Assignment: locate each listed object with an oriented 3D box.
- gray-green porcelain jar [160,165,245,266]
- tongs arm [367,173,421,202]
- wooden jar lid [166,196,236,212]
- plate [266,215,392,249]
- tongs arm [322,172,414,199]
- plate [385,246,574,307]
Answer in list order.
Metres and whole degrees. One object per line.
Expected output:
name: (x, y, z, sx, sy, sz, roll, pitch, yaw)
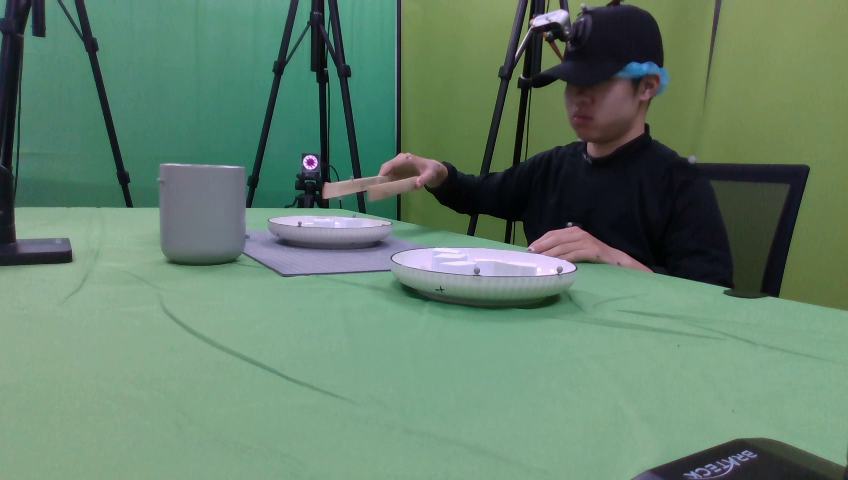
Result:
gray-green porcelain jar: (-0.291, -0.034, 0.799, 0.106, 0.126, 0.106, 2, 8, 0)
tongs arm: (-0.050, -0.104, 1.144, 0.028, 0.028, 0.388, -1, 9, 12)
wooden jar lid: (-0.369, -0.060, 1.001, 0.108, 0.020, 0.108, 3, 6, 0)
plate: (-0.159, -0.015, 1.019, 0.209, 0.038, 0.209, 3, 7, 0)
tongs arm: (-0.093, -0.107, 1.154, 0.050, 0.026, 0.385, 3, 10, 14)
plate: (0.060, 0.041, 0.678, 0.208, 0.039, 0.207, 3, 7, 0)
